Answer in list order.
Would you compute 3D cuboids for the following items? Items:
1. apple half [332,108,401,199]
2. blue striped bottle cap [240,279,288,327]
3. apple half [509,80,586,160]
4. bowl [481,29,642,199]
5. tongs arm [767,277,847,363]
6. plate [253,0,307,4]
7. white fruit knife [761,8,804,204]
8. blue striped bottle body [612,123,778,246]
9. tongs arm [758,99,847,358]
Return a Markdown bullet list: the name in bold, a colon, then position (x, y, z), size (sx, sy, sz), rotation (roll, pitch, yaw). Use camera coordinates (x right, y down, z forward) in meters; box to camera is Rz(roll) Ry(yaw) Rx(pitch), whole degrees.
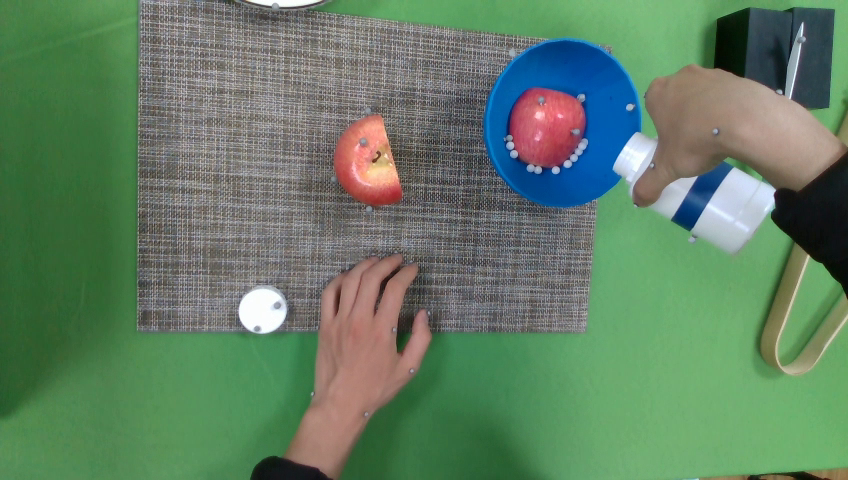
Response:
- **apple half**: position (-0.056, -0.075, 0.550), size (0.053, 0.074, 0.081), rotation (-17, 104, -6)
- **blue striped bottle cap**: position (-0.153, 0.060, 0.576), size (0.045, 0.020, 0.044), rotation (-2, 97, -14)
- **apple half**: position (0.122, -0.114, 0.575), size (0.081, 0.032, 0.081), rotation (-1, 96, -11)
- **bowl**: position (0.119, -0.116, 0.579), size (0.152, 0.076, 0.151), rotation (-2, 98, -11)
- **tongs arm**: position (0.530, -0.015, 0.707), size (0.051, 0.026, 0.384), rotation (32, 91, -13)
- **plate**: position (-0.135, -0.309, 0.523), size (0.208, 0.039, 0.208), rotation (-2, 98, -12)
- **white fruit knife**: position (0.370, -0.130, 0.630), size (0.016, 0.027, 0.209), rotation (-1, 115, 6)
- **blue striped bottle body**: position (0.219, -0.052, 0.504), size (0.120, 0.063, 0.063), rotation (34, 89, 15)
- **tongs arm**: position (0.458, -0.052, 0.691), size (0.028, 0.027, 0.387), rotation (18, 94, -16)
